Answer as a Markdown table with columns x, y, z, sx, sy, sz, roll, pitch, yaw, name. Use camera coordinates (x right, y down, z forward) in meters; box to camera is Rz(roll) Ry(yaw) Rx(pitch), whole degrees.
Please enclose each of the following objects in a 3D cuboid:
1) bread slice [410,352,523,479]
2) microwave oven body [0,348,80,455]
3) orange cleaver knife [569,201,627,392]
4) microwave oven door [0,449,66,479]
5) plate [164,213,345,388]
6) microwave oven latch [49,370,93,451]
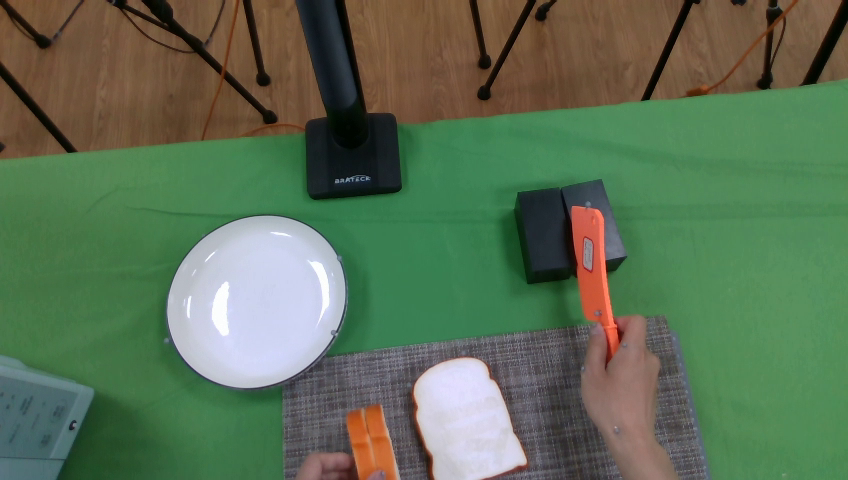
| x | y | z | sx | sy | sz | roll | pitch | yaw | name |
| --- | --- | --- | --- | --- | --- | --- | --- | --- | --- |
| 0.043 | 0.193 | 0.667 | 0.107 | 0.018 | 0.133 | -13 | 79 | -9 | bread slice |
| -0.583 | 0.275 | 0.524 | 0.325 | 0.262 | 0.439 | 14 | 72 | 6 | microwave oven body |
| 0.186 | 0.057 | 0.659 | 0.012 | 0.077 | 0.211 | -7 | 86 | -12 | orange cleaver knife |
| -0.454 | 0.347 | 0.489 | 0.039 | 0.245 | 0.354 | 14 | 71 | 8 | microwave oven door |
| -0.193 | 0.070 | 0.710 | 0.208 | 0.039 | 0.206 | 0 | 70 | 1 | plate |
| -0.389 | 0.184 | 0.654 | 0.030 | 0.030 | 0.079 | 16 | 72 | 7 | microwave oven latch |
